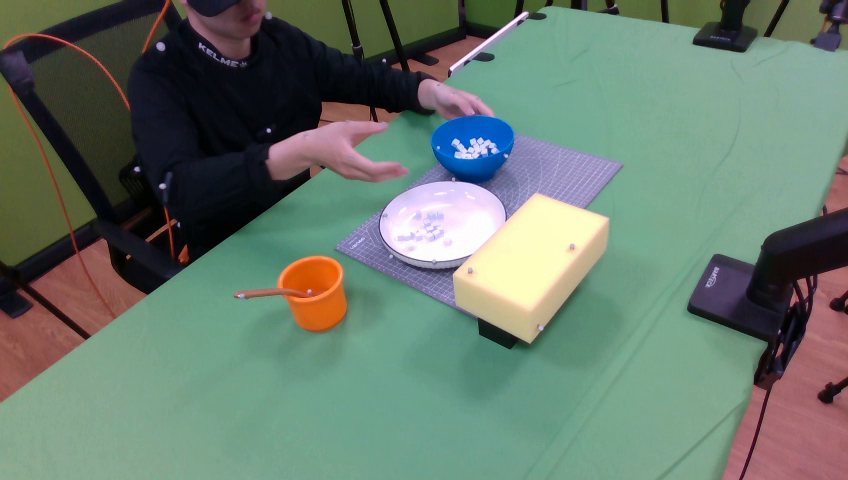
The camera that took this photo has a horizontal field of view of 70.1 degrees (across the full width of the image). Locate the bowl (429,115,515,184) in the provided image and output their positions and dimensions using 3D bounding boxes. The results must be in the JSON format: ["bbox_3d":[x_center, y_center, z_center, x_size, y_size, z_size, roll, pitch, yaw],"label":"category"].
[{"bbox_3d":[0.089,-0.154,1.089,0.151,0.077,0.150,-4,40,4],"label":"bowl"}]

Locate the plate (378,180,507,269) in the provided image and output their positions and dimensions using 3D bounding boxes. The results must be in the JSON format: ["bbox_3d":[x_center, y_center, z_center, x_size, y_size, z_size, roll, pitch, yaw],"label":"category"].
[{"bbox_3d":[0.031,-0.022,0.974,0.209,0.038,0.208,-4,40,4],"label":"plate"}]

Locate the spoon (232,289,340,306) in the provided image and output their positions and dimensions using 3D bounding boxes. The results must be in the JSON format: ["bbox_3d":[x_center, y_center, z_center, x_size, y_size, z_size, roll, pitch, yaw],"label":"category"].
[{"bbox_3d":[-0.181,0.074,0.811,0.041,0.195,0.021,17,91,31],"label":"spoon"}]

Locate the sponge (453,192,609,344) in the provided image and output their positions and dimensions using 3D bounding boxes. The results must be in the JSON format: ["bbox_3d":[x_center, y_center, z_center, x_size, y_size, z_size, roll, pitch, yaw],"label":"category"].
[{"bbox_3d":[0.147,0.029,0.808,0.117,0.061,0.207,23,50,31],"label":"sponge"}]
